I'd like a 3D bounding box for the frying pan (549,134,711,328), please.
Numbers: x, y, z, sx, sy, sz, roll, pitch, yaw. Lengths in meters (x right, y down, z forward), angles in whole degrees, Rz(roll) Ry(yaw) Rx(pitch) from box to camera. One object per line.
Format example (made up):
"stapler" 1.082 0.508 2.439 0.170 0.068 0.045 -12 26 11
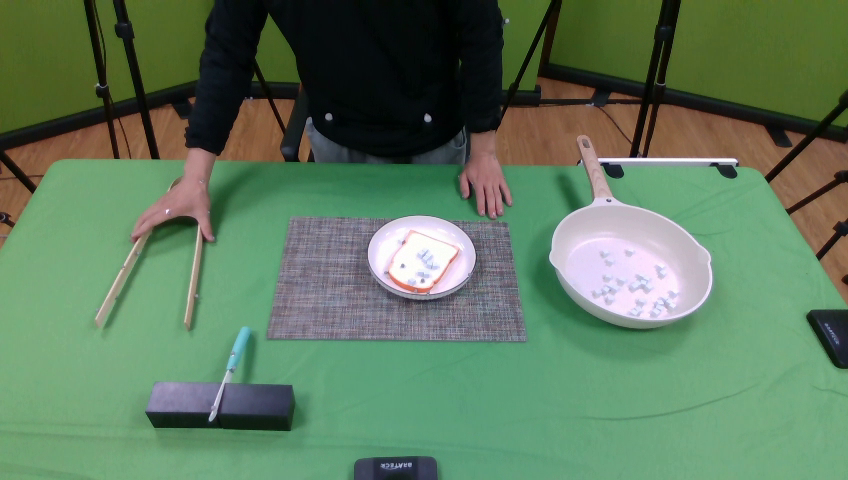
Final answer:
"frying pan" 0.372 -0.035 1.203 0.307 0.103 0.484 -1 55 -6

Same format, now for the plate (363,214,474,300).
"plate" -0.010 0.036 1.146 0.208 0.039 0.206 2 46 -2

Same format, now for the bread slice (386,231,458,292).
"bread slice" -0.007 0.044 1.142 0.107 0.018 0.134 18 45 13

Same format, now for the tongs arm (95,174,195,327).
"tongs arm" -0.515 0.005 1.142 0.051 0.026 0.382 4 45 -1

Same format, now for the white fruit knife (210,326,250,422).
"white fruit knife" -0.300 0.201 0.942 0.016 0.027 0.206 1 32 -1

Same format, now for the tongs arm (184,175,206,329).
"tongs arm" -0.437 0.008 1.150 0.028 0.028 0.385 -7 47 -7
